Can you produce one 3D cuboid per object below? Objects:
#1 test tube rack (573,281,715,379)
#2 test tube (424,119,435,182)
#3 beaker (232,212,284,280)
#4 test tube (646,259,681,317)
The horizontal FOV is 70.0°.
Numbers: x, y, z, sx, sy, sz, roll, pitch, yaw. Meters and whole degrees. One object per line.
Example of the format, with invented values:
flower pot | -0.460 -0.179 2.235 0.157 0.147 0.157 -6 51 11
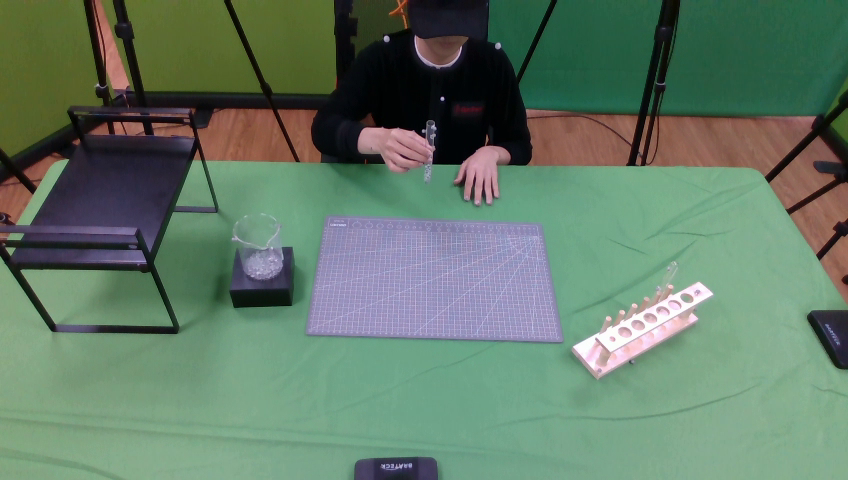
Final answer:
test tube rack | 0.378 0.140 1.038 0.242 0.085 0.066 -22 51 -22
test tube | 0.010 -0.163 1.122 0.017 0.151 0.017 1 53 -1
beaker | -0.280 0.016 1.037 0.074 0.101 0.083 -18 50 -20
test tube | 0.406 0.083 1.033 0.017 0.151 0.017 2 48 -2
